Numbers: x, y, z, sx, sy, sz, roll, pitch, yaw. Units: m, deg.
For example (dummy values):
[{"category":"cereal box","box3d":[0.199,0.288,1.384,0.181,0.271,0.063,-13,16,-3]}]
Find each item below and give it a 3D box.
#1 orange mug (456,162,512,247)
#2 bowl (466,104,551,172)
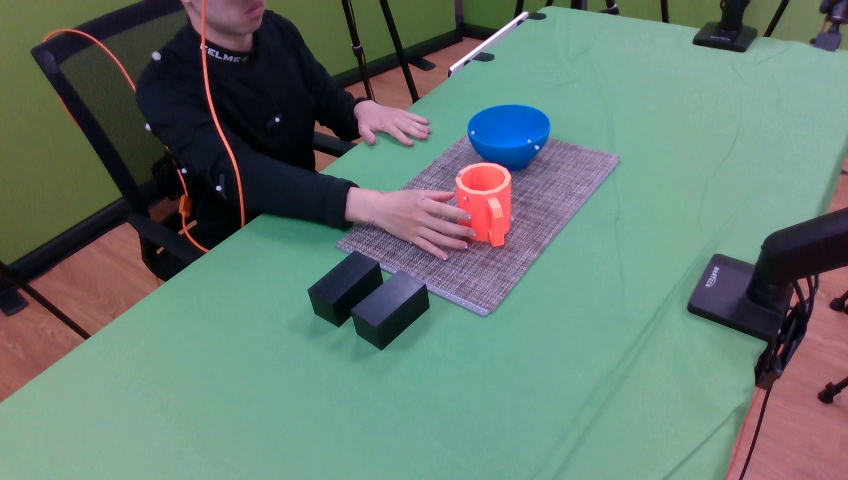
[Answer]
[{"category":"orange mug","box3d":[0.100,-0.050,0.949,0.083,0.101,0.125,-13,37,-6]},{"category":"bowl","box3d":[0.155,-0.177,1.105,0.151,0.077,0.150,-3,40,3]}]
